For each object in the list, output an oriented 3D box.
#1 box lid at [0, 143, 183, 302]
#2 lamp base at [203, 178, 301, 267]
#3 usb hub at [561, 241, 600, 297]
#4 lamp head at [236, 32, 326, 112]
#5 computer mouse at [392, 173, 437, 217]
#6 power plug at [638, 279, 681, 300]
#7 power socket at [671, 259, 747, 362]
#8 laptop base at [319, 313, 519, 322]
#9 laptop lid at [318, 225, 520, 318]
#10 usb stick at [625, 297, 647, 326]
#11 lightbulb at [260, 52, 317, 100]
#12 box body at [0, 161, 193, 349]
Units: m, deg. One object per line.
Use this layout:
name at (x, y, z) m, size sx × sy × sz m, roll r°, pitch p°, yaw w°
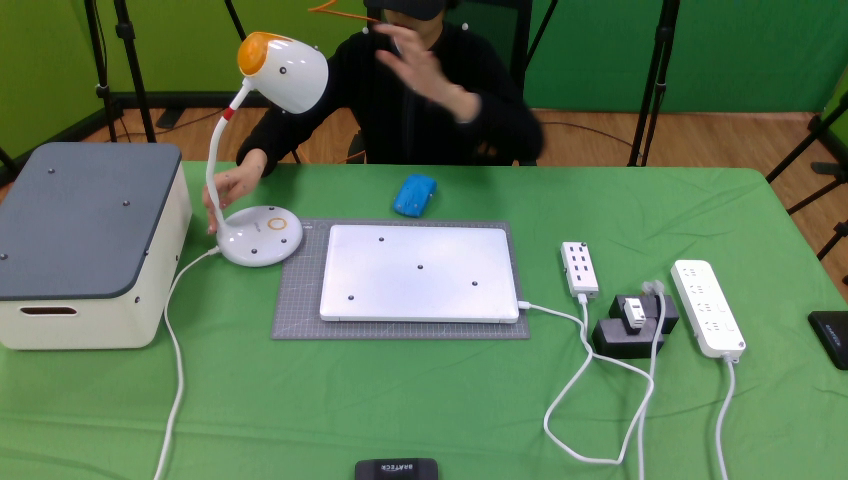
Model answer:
box lid at (-0.567, -0.045, 0.999) m, size 0.263 × 0.015 × 0.369 m, roll -1°, pitch 46°, yaw -4°
lamp base at (-0.328, -0.058, 1.119) m, size 0.179 × 0.181 × 0.159 m, roll -29°, pitch 53°, yaw -23°
usb hub at (0.300, 0.055, 1.161) m, size 0.049 × 0.025 × 0.124 m, roll 2°, pitch 46°, yaw -3°
lamp head at (-0.236, -0.269, 0.954) m, size 0.112 × 0.112 × 0.123 m, roll 42°, pitch 19°, yaw 31°
computer mouse at (-0.018, -0.098, 1.282) m, size 0.062 × 0.041 × 0.117 m, roll 20°, pitch 51°, yaw 13°
power plug at (0.434, 0.099, 1.119) m, size 0.073 × 0.053 × 0.035 m, roll 34°, pitch 38°, yaw -15°
power socket at (0.517, 0.119, 1.108) m, size 0.072 × 0.033 × 0.225 m, roll 1°, pitch 46°, yaw -2°
laptop base at (-0.009, 0.063, 1.138) m, size 0.354 × 0.023 × 0.234 m, roll 1°, pitch 42°, yaw -3°
laptop lid at (-0.009, 0.052, 1.130) m, size 0.357 × 0.013 × 0.240 m, roll 2°, pitch 43°, yaw -2°
usb stick at (0.360, 0.117, 1.034) m, size 0.021 × 0.027 × 0.059 m, roll -2°, pitch 44°, yaw -2°
lightbulb at (-0.218, -0.266, 0.971) m, size 0.059 × 0.108 × 0.059 m, roll -12°, pitch 67°, yaw 32°
box body at (-0.570, 0.006, 1.054) m, size 0.254 × 0.161 × 0.361 m, roll -1°, pitch 46°, yaw -4°
